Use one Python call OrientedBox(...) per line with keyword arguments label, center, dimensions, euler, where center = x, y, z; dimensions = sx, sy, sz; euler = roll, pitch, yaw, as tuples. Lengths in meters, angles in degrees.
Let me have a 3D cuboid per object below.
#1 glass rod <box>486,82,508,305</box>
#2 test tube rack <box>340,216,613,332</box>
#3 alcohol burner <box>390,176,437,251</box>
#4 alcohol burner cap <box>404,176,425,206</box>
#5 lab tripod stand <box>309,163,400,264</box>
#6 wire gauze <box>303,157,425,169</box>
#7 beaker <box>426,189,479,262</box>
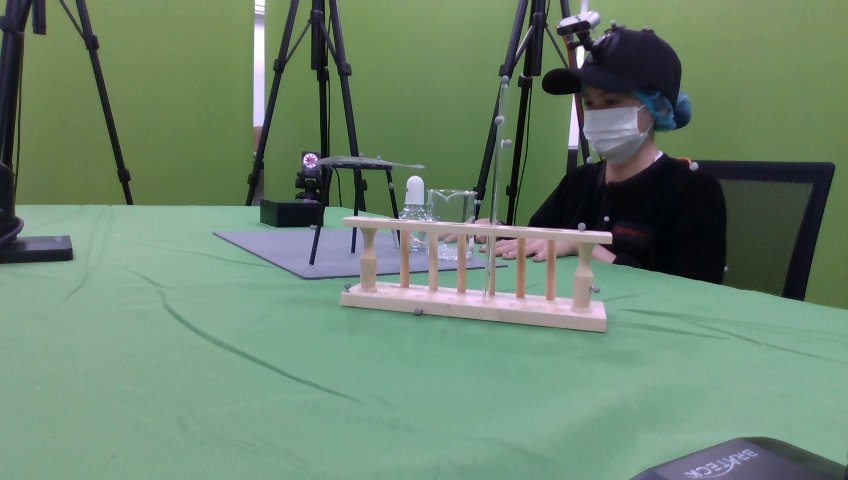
OrientedBox(label="glass rod", center=(0.064, -0.035, 0.528), dimensions=(0.008, 0.199, 0.008), euler=(2, 13, 0))
OrientedBox(label="test tube rack", center=(0.048, 0.026, 0.568), dimensions=(0.242, 0.085, 0.067), euler=(4, 8, 13))
OrientedBox(label="alcohol burner", center=(-0.016, -0.042, 0.955), dimensions=(0.078, 0.119, 0.078), euler=(4, 6, 0))
OrientedBox(label="alcohol burner cap", center=(-0.015, -0.077, 0.951), dimensions=(0.034, 0.048, 0.034), euler=(2, 4, 0))
OrientedBox(label="lab tripod stand", center=(-0.091, -0.037, 0.813), dimensions=(0.148, 0.131, 0.148), euler=(1, 6, 0))
OrientedBox(label="wire gauze", center=(-0.082, -0.102, 0.799), dimensions=(0.126, 0.011, 0.121), euler=(-1, 7, -30))
OrientedBox(label="beaker", center=(0.039, -0.022, 0.872), dimensions=(0.074, 0.100, 0.084), euler=(4, 8, 12))
